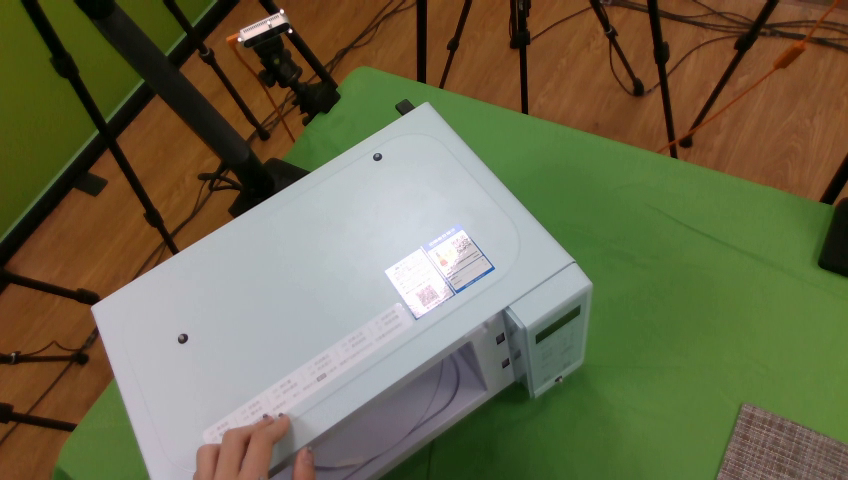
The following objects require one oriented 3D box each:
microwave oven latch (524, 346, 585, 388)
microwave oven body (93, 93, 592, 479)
[{"bbox_3d":[0.162,0.149,0.749,0.079,0.030,0.030,-32,60,-6],"label":"microwave oven latch"},{"bbox_3d":[-0.082,0.097,0.716,0.442,0.263,0.322,-34,60,-7],"label":"microwave oven body"}]
